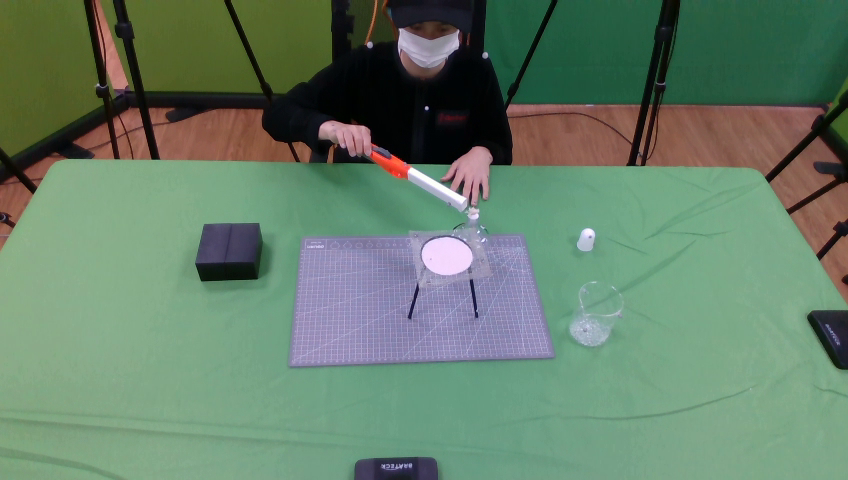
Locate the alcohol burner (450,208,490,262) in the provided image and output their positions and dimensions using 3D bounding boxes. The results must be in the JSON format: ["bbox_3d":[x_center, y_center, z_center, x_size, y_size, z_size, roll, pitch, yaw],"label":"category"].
[{"bbox_3d":[0.088,-0.015,1.153,0.078,0.120,0.077,1,47,-1],"label":"alcohol burner"}]

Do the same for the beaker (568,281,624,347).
[{"bbox_3d":[0.290,0.132,1.041,0.084,0.101,0.073,-34,57,-31],"label":"beaker"}]

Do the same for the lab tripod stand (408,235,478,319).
[{"bbox_3d":[0.032,0.065,1.057,0.148,0.132,0.147,1,45,-1],"label":"lab tripod stand"}]

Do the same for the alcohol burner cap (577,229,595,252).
[{"bbox_3d":[0.326,-0.002,1.213,0.034,0.048,0.033,1,47,-1],"label":"alcohol burner cap"}]

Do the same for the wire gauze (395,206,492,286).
[{"bbox_3d":[0.031,0.010,0.993,0.125,0.011,0.120,-25,57,-17],"label":"wire gauze"}]

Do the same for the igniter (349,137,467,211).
[{"bbox_3d":[-0.037,-0.129,1.153,0.275,0.057,0.025,31,65,21],"label":"igniter"}]
